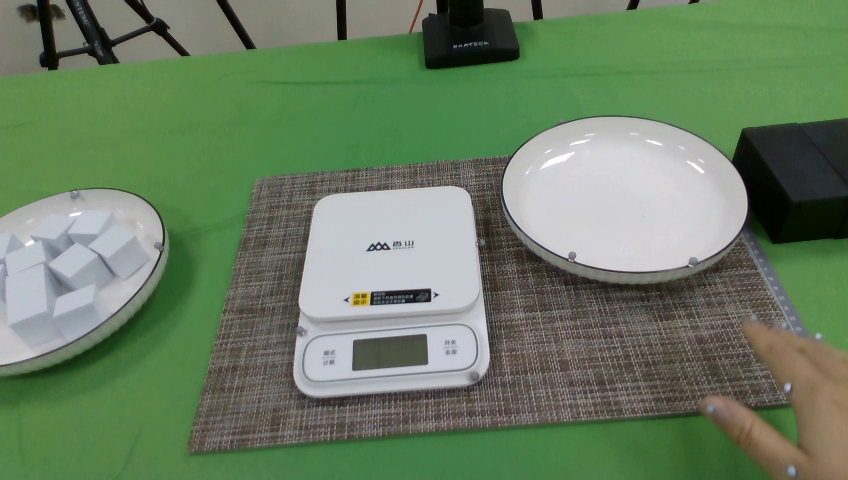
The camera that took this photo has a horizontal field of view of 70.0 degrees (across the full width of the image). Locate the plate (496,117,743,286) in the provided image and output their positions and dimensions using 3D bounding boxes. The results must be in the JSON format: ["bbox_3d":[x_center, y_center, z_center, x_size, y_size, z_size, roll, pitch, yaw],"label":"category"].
[{"bbox_3d":[0.169,-0.035,0.543,0.207,0.039,0.205,-3,46,4],"label":"plate"}]

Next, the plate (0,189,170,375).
[{"bbox_3d":[-0.328,0.035,0.540,0.209,0.038,0.207,-3,45,3],"label":"plate"}]

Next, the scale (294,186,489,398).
[{"bbox_3d":[-0.027,0.034,0.504,0.148,0.032,0.199,-5,46,3],"label":"scale"}]
